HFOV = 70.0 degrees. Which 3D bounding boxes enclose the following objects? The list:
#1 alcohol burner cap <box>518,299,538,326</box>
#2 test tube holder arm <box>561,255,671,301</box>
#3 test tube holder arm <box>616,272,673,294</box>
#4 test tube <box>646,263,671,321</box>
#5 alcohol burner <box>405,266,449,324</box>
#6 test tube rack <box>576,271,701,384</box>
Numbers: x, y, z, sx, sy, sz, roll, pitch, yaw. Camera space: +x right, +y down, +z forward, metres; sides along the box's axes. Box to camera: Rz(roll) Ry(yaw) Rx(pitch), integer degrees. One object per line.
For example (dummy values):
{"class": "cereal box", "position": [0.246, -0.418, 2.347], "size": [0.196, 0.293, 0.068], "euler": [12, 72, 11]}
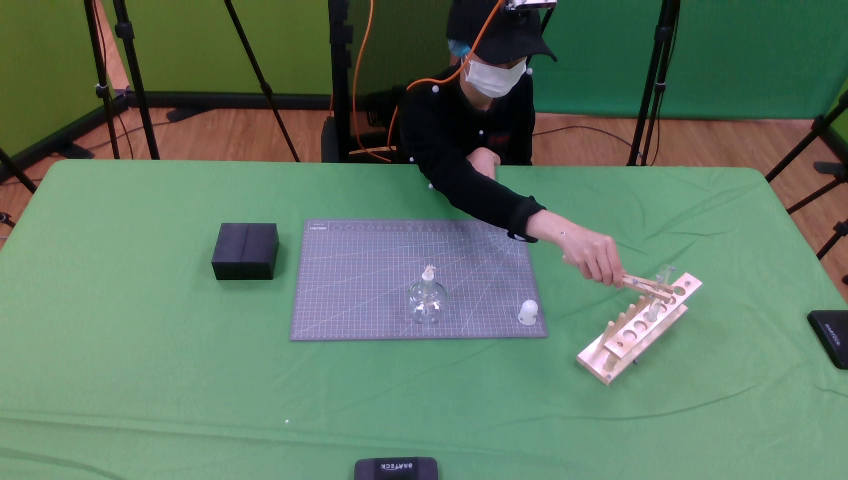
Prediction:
{"class": "alcohol burner cap", "position": [0.186, 0.126, 1.072], "size": [0.034, 0.048, 0.033], "euler": [1, 44, -1]}
{"class": "test tube holder arm", "position": [0.303, 0.059, 0.968], "size": [0.178, 0.015, 0.013], "euler": [20, 51, 26]}
{"class": "test tube holder arm", "position": [0.345, 0.068, 0.952], "size": [0.087, 0.015, 0.010], "euler": [14, 49, 21]}
{"class": "test tube", "position": [0.366, 0.086, 0.951], "size": [0.017, 0.151, 0.017], "euler": [-5, 50, 6]}
{"class": "alcohol burner", "position": [0.005, 0.089, 1.043], "size": [0.078, 0.120, 0.077], "euler": [1, 45, -1]}
{"class": "test tube rack", "position": [0.373, 0.138, 1.047], "size": [0.242, 0.085, 0.066], "euler": [-31, 56, -29]}
